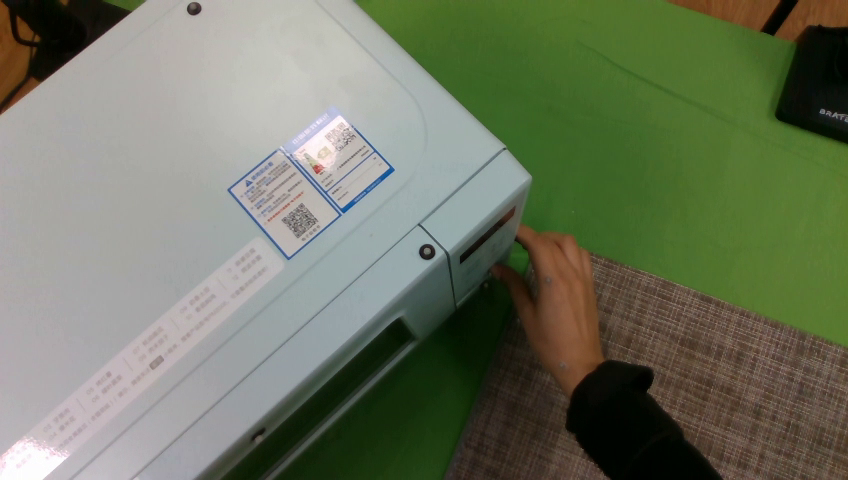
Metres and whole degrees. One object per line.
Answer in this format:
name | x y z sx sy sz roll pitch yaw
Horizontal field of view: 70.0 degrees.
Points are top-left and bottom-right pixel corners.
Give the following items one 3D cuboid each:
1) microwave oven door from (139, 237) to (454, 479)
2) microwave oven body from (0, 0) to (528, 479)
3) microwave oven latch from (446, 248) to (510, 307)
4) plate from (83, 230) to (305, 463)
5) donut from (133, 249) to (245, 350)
microwave oven door | -0.120 0.148 0.481 0.355 0.245 0.039 -42 76 -7
microwave oven body | -0.187 0.019 0.524 0.441 0.261 0.324 -42 77 -7
microwave oven latch | 0.050 0.030 0.606 0.079 0.029 0.030 -42 77 -7
plate | -0.203 0.093 0.547 0.209 0.038 0.207 -4 69 10
donut | -0.217 0.055 0.564 0.099 0.048 0.098 3 63 -6
